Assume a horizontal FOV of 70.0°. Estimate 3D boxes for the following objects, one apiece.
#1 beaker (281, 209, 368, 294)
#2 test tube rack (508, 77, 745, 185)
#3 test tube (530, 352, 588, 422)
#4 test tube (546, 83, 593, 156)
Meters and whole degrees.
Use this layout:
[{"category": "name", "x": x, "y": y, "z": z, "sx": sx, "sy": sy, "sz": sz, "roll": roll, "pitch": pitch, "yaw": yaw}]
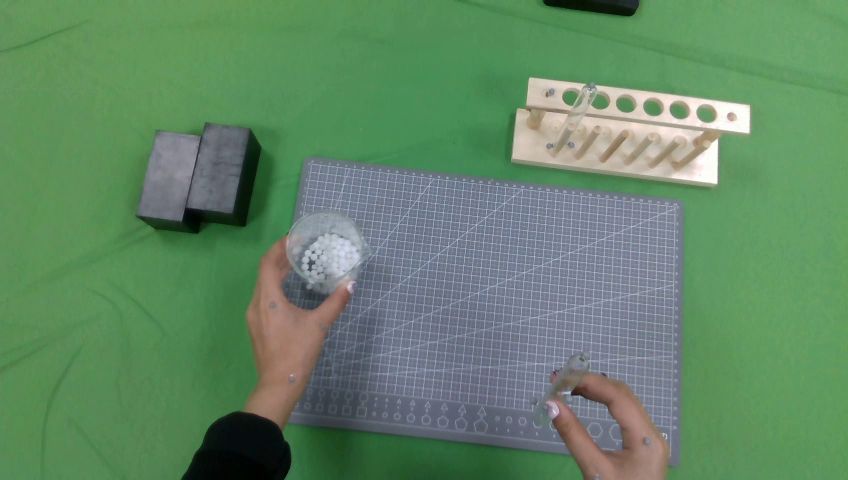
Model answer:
[{"category": "beaker", "x": -0.102, "y": 0.017, "z": 0.635, "sx": 0.084, "sy": 0.100, "sz": 0.073, "roll": 6, "pitch": 76, "yaw": -5}, {"category": "test tube rack", "x": 0.225, "y": -0.122, "z": 0.692, "sx": 0.242, "sy": 0.085, "sz": 0.066, "roll": 7, "pitch": 76, "yaw": 0}, {"category": "test tube", "x": 0.105, "y": 0.122, "z": 0.487, "sx": 0.017, "sy": 0.151, "sz": 0.017, "roll": 1, "pitch": 60, "yaw": -1}, {"category": "test tube", "x": 0.153, "y": -0.125, "z": 0.644, "sx": 0.017, "sy": 0.151, "sz": 0.017, "roll": 0, "pitch": 75, "yaw": -1}]
